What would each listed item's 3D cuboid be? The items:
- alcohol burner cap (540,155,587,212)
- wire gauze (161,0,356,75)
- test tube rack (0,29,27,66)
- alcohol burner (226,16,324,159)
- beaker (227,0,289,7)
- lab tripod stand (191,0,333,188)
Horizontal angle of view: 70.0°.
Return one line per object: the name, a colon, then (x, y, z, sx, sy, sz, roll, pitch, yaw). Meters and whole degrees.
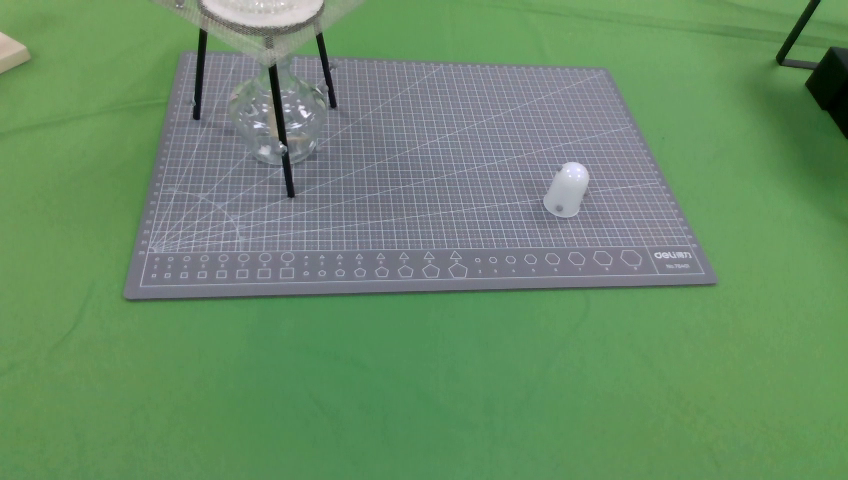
alcohol burner cap: (0.120, -0.050, 0.511, 0.034, 0.048, 0.033, 5, 49, -5)
wire gauze: (-0.118, -0.178, 0.432, 0.124, 0.011, 0.121, 32, 55, 12)
test tube rack: (-0.454, -0.143, 0.467, 0.066, 0.086, 0.241, 30, 52, 15)
alcohol burner: (-0.120, -0.124, 0.486, 0.078, 0.120, 0.077, 6, 48, -6)
beaker: (-0.116, -0.214, 0.397, 0.073, 0.101, 0.084, 37, 56, 19)
lab tripod stand: (-0.124, -0.136, 0.482, 0.149, 0.132, 0.147, 6, 50, -7)
